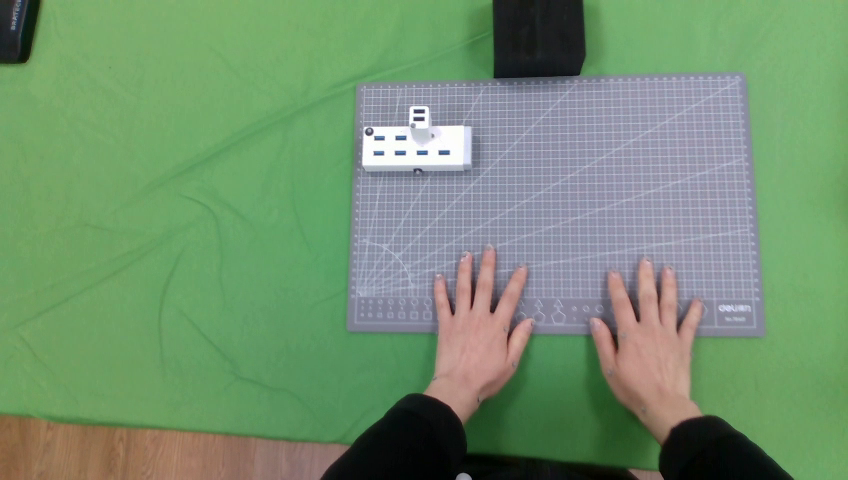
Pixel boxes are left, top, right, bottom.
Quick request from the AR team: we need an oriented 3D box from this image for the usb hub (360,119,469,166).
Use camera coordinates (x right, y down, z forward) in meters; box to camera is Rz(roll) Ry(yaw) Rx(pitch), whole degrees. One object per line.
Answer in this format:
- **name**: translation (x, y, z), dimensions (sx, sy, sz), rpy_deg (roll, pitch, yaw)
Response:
- **usb hub**: translation (-0.011, -0.113, 0.697), dimensions (0.125, 0.025, 0.049), rpy_deg (0, 80, 4)

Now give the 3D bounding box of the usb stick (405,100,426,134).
- **usb stick**: translation (-0.010, -0.133, 0.671), dimensions (0.021, 0.059, 0.027), rpy_deg (2, 81, -2)
